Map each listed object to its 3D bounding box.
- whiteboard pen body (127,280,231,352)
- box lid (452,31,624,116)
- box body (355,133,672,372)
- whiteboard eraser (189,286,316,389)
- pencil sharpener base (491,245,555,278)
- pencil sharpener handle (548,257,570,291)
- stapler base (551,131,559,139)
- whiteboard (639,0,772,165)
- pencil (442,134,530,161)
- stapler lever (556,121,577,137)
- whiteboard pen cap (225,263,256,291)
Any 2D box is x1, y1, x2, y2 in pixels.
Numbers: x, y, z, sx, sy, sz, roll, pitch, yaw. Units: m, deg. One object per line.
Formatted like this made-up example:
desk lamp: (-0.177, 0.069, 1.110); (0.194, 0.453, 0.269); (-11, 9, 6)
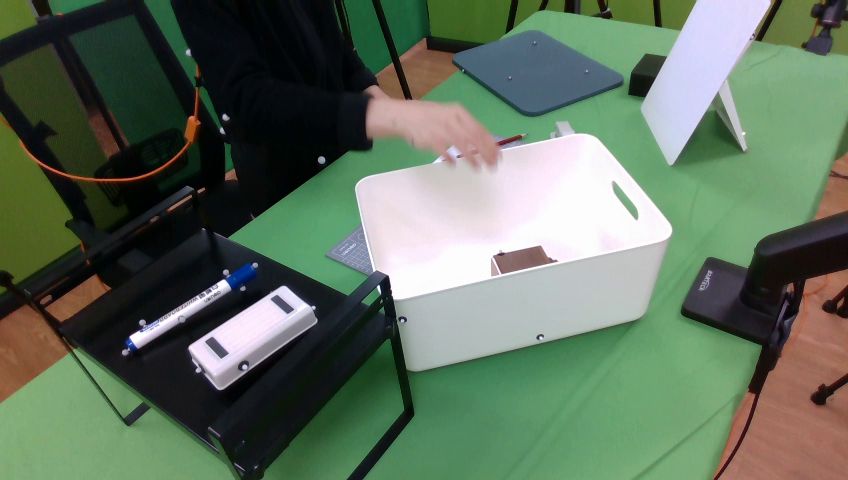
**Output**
whiteboard pen body: (-0.248, 0.072, 0.645); (0.141, 0.017, 0.017); (-35, 47, -23)
box lid: (0.256, -0.401, 1.419); (0.264, 0.015, 0.368); (-22, 43, -17)
box body: (0.108, 0.013, 0.834); (0.365, 0.161, 0.252); (-12, 41, -6)
whiteboard eraser: (-0.166, 0.096, 0.593); (0.113, 0.042, 0.055); (-36, 47, -29)
pencil sharpener base: (0.134, 0.068, 0.800); (0.077, 0.107, 0.061); (-12, 42, -7)
pencil sharpener handle: (0.182, 0.045, 0.801); (0.031, 0.068, 0.035); (-12, 57, -7)
stapler base: (0.268, -0.178, 1.142); (0.041, 0.024, 0.130); (1, 37, 3)
whiteboard: (0.543, -0.298, 1.076); (0.144, 0.305, 0.216); (12, 40, -7)
pencil: (0.123, -0.180, 1.175); (0.195, 0.012, 0.012); (-20, 42, -17)
stapler lever: (0.266, -0.198, 1.128); (0.027, 0.040, 0.117); (0, 38, 3)
whiteboard pen cap: (-0.204, 0.041, 0.668); (0.033, 0.018, 0.018); (-36, 48, -22)
